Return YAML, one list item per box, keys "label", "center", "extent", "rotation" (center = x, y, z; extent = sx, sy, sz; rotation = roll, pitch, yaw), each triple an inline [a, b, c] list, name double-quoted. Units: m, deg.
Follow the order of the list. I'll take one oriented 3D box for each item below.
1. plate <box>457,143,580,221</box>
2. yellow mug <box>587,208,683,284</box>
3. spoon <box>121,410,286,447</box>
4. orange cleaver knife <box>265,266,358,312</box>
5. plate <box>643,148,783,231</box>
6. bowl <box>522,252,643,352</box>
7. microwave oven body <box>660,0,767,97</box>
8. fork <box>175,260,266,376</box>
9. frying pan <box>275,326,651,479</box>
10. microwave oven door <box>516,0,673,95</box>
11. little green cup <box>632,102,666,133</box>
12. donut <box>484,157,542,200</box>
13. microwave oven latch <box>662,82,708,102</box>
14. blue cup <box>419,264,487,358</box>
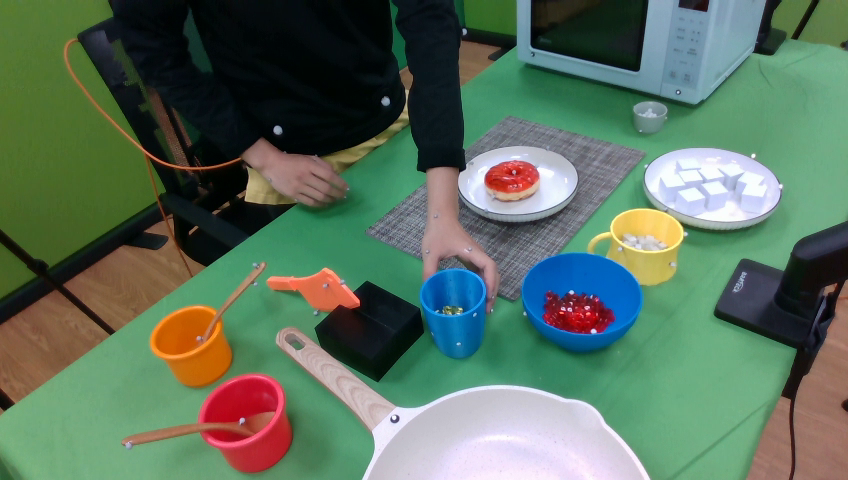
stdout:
- label: "plate"
  center: [0.161, -0.097, 1.042]
  extent: [0.209, 0.038, 0.208]
  rotation: [-4, 40, 4]
- label: "yellow mug"
  center: [0.305, 0.009, 0.884]
  extent: [0.131, 0.064, 0.099]
  rotation: [-4, 40, 5]
- label: "spoon"
  center: [-0.236, 0.208, 0.669]
  extent: [0.041, 0.021, 0.195]
  rotation: [36, 13, 38]
- label: "orange cleaver knife"
  center: [-0.164, 0.073, 0.864]
  extent: [0.210, 0.077, 0.012]
  rotation: [-6, 30, 50]
- label: "plate"
  center: [0.464, -0.079, 0.985]
  extent: [0.207, 0.039, 0.206]
  rotation: [-4, 41, 4]
- label: "bowl"
  center: [0.204, 0.093, 0.792]
  extent: [0.151, 0.077, 0.150]
  rotation: [-4, 40, 4]
- label: "microwave oven body"
  center: [0.473, -0.516, 1.313]
  extent: [0.438, 0.261, 0.327]
  rotation: [26, 51, 34]
- label: "fork"
  center: [-0.268, 0.103, 0.792]
  extent: [0.207, 0.019, 0.028]
  rotation: [-51, 41, 16]
- label: "frying pan"
  center: [0.004, 0.229, 0.641]
  extent: [0.484, 0.103, 0.308]
  rotation: [34, 54, 28]
- label: "microwave oven door"
  center: [0.344, -0.458, 1.255]
  extent: [0.353, 0.245, 0.039]
  rotation: [26, 51, 33]
- label: "little green cup"
  center: [0.434, -0.237, 1.171]
  extent: [0.061, 0.039, 0.061]
  rotation: [-5, 40, 5]
- label: "donut"
  center: [0.153, -0.108, 1.038]
  extent: [0.099, 0.048, 0.098]
  rotation: [-6, 37, 5]
- label: "microwave oven latch"
  center: [0.518, -0.298, 1.203]
  extent: [0.078, 0.029, 0.030]
  rotation: [29, 53, 36]
- label: "blue cup"
  center: [0.042, 0.101, 0.787]
  extent: [0.092, 0.101, 0.092]
  rotation: [-5, 42, 5]
